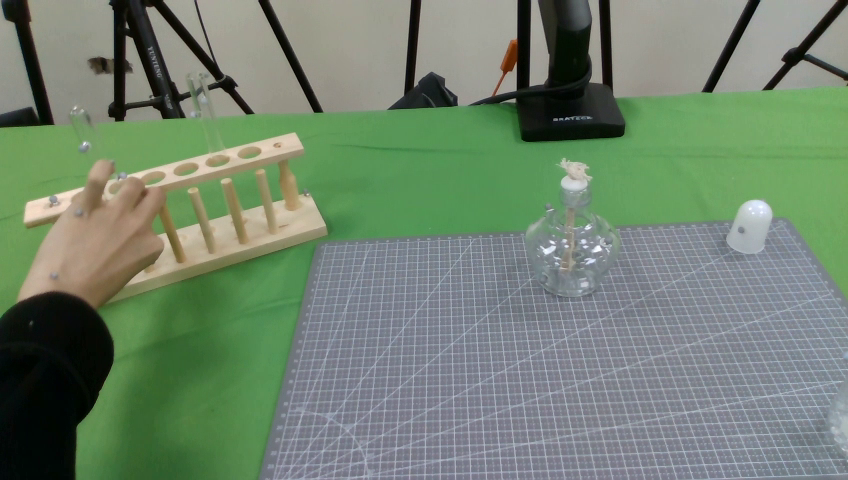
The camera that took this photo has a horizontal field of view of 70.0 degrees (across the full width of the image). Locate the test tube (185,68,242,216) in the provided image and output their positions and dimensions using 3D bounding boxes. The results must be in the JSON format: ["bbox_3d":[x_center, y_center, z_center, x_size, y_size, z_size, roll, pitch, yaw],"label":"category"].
[{"bbox_3d":[-0.193,-0.084,0.562,0.017,0.151,0.017,-2,37,2],"label":"test tube"}]

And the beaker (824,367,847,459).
[{"bbox_3d":[0.292,0.090,0.363,0.074,0.101,0.083,-22,42,-19],"label":"beaker"}]

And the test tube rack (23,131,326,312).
[{"bbox_3d":[-0.224,-0.022,0.568,0.243,0.086,0.066,-18,42,-15],"label":"test tube rack"}]

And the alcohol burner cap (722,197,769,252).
[{"bbox_3d":[0.286,-0.016,0.537,0.034,0.048,0.033,-3,40,3],"label":"alcohol burner cap"}]

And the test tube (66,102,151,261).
[{"bbox_3d":[-0.262,-0.044,0.508,0.017,0.152,0.017,-4,36,3],"label":"test tube"}]

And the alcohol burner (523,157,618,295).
[{"bbox_3d":[0.120,-0.013,0.495,0.078,0.120,0.077,-4,39,4],"label":"alcohol burner"}]
